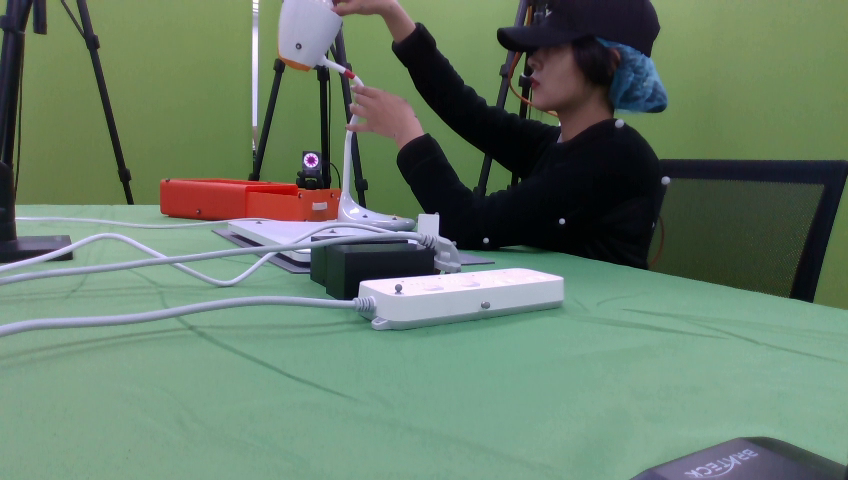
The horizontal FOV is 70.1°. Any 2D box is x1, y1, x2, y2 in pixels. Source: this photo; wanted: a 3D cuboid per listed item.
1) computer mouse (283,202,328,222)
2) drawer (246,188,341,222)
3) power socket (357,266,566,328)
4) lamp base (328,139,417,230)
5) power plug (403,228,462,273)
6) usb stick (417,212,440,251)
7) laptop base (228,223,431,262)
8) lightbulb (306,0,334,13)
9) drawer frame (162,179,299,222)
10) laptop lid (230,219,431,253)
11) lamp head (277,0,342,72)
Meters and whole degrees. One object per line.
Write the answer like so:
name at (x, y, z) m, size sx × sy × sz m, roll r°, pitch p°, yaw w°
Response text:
computer mouse at (-0.251, -0.060, 1.287) m, size 0.063 × 0.041 × 0.117 m, roll 3°, pitch 4°, yaw 11°
drawer at (-0.312, -0.078, 1.296) m, size 0.211 × 0.073 × 0.195 m, roll 4°, pitch 9°, yaw 17°
power socket at (0.042, 0.049, 0.573) m, size 0.228 × 0.032 × 0.072 m, roll -3°, pitch 8°, yaw -34°
lamp base at (-0.104, -0.113, 1.212) m, size 0.180 × 0.180 × 0.160 m, roll -3°, pitch 7°, yaw -15°
power plug at (0.006, 0.016, 0.647) m, size 0.073 × 0.052 × 0.035 m, roll 17°, pitch 12°, yaw -6°
usb stick at (0.005, -0.003, 0.721) m, size 0.027 × 0.059 × 0.021 m, roll 1°, pitch -3°, yaw -3°
laptop base at (-0.145, 0.002, 0.942) m, size 0.237 × 0.023 × 0.352 m, roll 2°, pitch 6°, yaw -32°
lightbulb at (-0.208, -0.404, 1.119) m, size 0.059 × 0.107 × 0.059 m, roll 27°, pitch 3°, yaw -1°
drawer frame at (-0.418, -0.089, 1.328) m, size 0.213 × 0.082 × 0.202 m, roll 4°, pitch 8°, yaw 18°
laptop lid at (-0.142, -0.009, 0.942) m, size 0.243 × 0.013 × 0.355 m, roll 1°, pitch 7°, yaw -31°
lamp head at (-0.219, -0.375, 1.124) m, size 0.112 × 0.123 × 0.112 m, roll 17°, pitch 10°, yaw -3°
